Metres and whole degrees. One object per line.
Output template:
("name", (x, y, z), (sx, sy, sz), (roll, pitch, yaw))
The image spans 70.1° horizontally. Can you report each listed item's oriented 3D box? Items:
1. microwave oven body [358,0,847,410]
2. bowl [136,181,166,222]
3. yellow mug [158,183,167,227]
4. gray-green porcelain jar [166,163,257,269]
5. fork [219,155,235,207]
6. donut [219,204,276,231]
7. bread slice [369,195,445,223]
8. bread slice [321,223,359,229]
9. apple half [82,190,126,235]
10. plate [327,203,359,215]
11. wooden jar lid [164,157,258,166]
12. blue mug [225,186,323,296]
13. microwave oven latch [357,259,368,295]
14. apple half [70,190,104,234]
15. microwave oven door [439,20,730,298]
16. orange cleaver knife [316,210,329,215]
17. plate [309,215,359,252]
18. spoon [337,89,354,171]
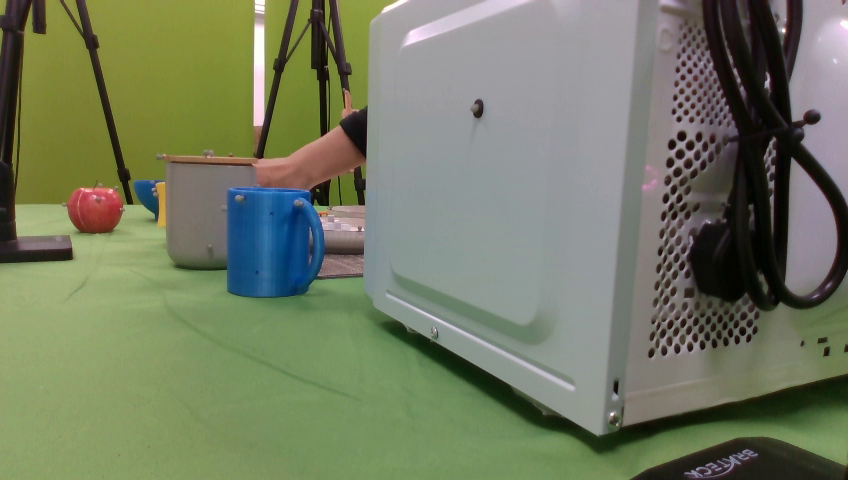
("microwave oven body", (0.210, -0.051, 0.471), (0.444, 0.260, 0.324), (-1, 7, -28))
("bowl", (-0.497, -0.076, 1.221), (0.151, 0.077, 0.151), (2, 8, 0))
("yellow mug", (-0.330, -0.052, 0.897), (0.130, 0.064, 0.100), (-1, 2, 35))
("gray-green porcelain jar", (-0.263, -0.031, 0.754), (0.106, 0.126, 0.106), (2, 7, 0))
("fork", (-0.459, -0.134, 1.415), (0.028, 0.018, 0.207), (-1, -34, -24))
("donut", (-0.316, -0.039, 1.083), (0.099, 0.048, 0.099), (2, 7, 0))
("bread slice", (-0.040, -0.057, 1.142), (0.107, 0.018, 0.133), (-9, -8, -39))
("bread slice", (-0.125, -0.010, 0.938), (0.131, 0.019, 0.105), (7, 10, 32))
("apple half", (-0.516, -0.046, 0.994), (0.032, 0.081, 0.081), (0, 6, 26))
("plate", (-0.102, -0.053, 1.299), (0.209, 0.038, 0.209), (2, 8, 0))
("wooden jar lid", (-0.261, -0.093, 0.746), (0.108, 0.020, 0.108), (0, 9, 0))
("blue mug", (-0.148, 0.000, 0.618), (0.116, 0.106, 0.083), (7, 9, 33))
("microwave oven latch", (-0.019, 0.031, 0.529), (0.079, 0.029, 0.030), (-1, 7, -26))
("apple half", (-0.552, -0.048, 1.009), (0.053, 0.074, 0.081), (-1, 10, 26))
("microwave oven door", (0.181, -0.076, 0.618), (0.358, 0.243, 0.039), (-2, 8, -28))
("orange cleaver knife", (-0.259, -0.064, 1.423), (0.212, 0.012, 0.077), (-4, 3, -30))
("plate", (-0.130, -0.011, 0.945), (0.208, 0.039, 0.207), (2, 7, 0))
("spoon", (-0.146, -0.213, 1.157), (0.042, 0.193, 0.021), (23, -34, -39))
